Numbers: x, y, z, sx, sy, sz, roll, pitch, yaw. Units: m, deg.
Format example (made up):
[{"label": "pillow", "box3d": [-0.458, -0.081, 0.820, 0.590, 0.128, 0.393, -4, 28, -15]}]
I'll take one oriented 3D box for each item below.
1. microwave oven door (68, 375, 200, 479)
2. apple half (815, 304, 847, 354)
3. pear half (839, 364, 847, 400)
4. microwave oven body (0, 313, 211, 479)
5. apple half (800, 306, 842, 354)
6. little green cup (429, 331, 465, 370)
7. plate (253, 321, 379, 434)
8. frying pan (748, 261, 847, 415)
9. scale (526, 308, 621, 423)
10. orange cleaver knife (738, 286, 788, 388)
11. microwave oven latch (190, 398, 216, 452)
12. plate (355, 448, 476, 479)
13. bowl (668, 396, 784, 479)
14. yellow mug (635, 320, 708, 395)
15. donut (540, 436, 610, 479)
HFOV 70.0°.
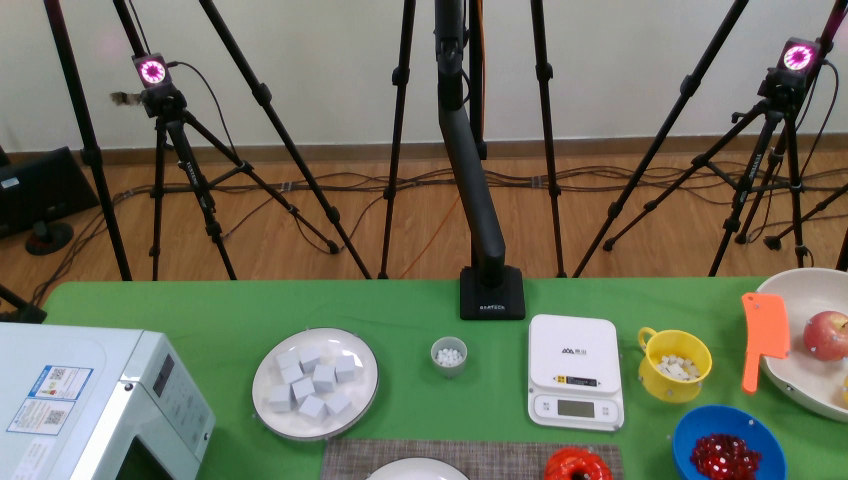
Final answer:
[{"label": "microwave oven door", "box3d": [-0.379, 0.375, 0.720, 0.039, 0.246, 0.352, 2, 47, 6]}, {"label": "apple half", "box3d": [0.679, 0.147, 0.998, 0.053, 0.075, 0.080, -5, 43, -5]}, {"label": "pear half", "box3d": [0.675, 0.214, 0.912, 0.075, 0.111, 0.056, 28, 55, 31]}, {"label": "microwave oven body", "box3d": [-0.519, 0.343, 0.766, 0.326, 0.262, 0.437, 2, 48, 5]}, {"label": "apple half", "box3d": [0.641, 0.151, 0.995, 0.033, 0.082, 0.080, -4, 47, -5]}, {"label": "little green cup", "box3d": [0.040, 0.190, 1.031, 0.061, 0.039, 0.061, -2, 46, 3]}, {"label": "plate", "box3d": [-0.177, 0.229, 1.009, 0.207, 0.039, 0.205, -2, 47, 2]}, {"label": "frying pan", "box3d": [0.713, 0.219, 0.915, 0.307, 0.104, 0.482, -20, 41, -13]}, {"label": "scale", "box3d": [0.247, 0.203, 1.010, 0.148, 0.032, 0.199, 3, 48, 7]}, {"label": "orange cleaver knife", "box3d": [0.538, 0.150, 0.966, 0.077, 0.012, 0.210, 14, 50, 17]}, {"label": "microwave oven latch", "box3d": [-0.349, 0.285, 0.941, 0.030, 0.030, 0.078, 4, 48, 7]}, {"label": "plate", "box3d": [-0.013, 0.393, 0.839, 0.209, 0.038, 0.207, -2, 47, 3]}, {"label": "bowl", "box3d": [0.420, 0.309, 0.868, 0.151, 0.077, 0.150, -2, 47, 2]}, {"label": "yellow mug", "box3d": [0.394, 0.183, 0.995, 0.100, 0.064, 0.129, -25, 49, -18]}, {"label": "donut", "box3d": [0.217, 0.333, 0.876, 0.099, 0.049, 0.098, -3, 47, 4]}]
